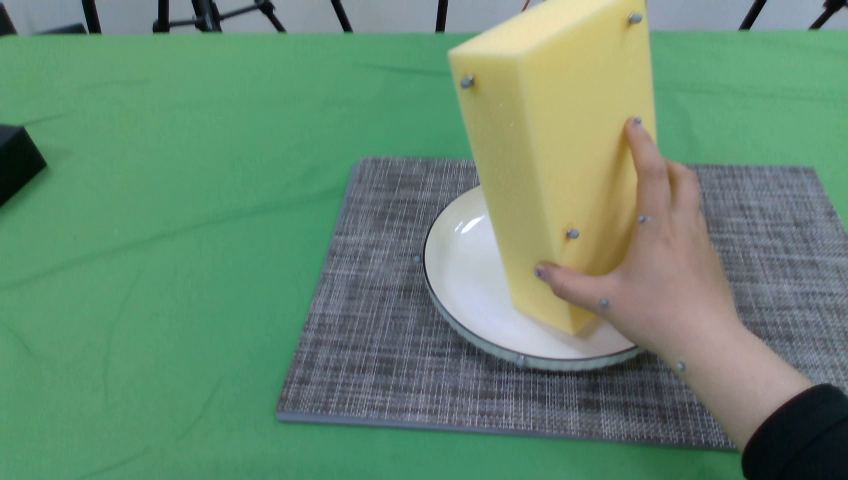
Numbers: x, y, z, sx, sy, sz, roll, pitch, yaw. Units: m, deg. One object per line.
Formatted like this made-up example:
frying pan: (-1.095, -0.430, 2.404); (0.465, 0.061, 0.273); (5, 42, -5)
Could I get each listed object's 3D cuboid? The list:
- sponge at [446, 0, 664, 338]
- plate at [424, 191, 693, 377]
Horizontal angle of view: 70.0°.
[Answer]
sponge: (0.102, -0.048, 0.427); (0.118, 0.209, 0.060); (-36, 35, -25)
plate: (0.104, 0.027, 0.491); (0.207, 0.039, 0.205); (-2, 44, 3)
